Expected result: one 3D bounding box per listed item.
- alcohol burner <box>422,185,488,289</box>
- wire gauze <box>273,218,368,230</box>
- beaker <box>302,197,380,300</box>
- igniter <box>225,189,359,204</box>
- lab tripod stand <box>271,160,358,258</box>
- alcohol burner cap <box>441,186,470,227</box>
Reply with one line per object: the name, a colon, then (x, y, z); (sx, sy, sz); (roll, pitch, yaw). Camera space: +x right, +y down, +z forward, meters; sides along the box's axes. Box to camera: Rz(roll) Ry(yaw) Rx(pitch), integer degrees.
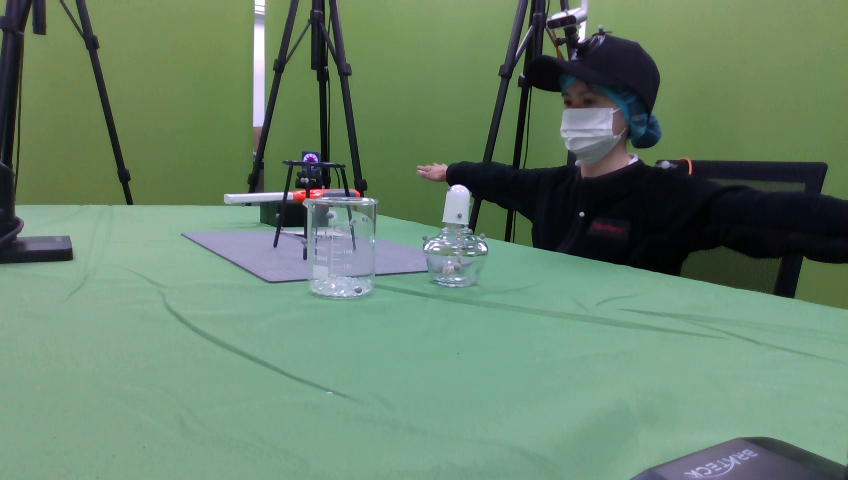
alcohol burner: (0.036, -0.004, 0.705); (0.078, 0.119, 0.078); (0, 7, 0)
wire gauze: (-0.186, -0.028, 1.088); (0.124, 0.011, 0.122); (0, 7, 36)
beaker: (-0.089, 0.007, 0.625); (0.084, 0.100, 0.074); (4, 7, 16)
igniter: (-0.264, -0.089, 1.239); (0.278, 0.025, 0.057); (-5, 12, -32)
lab tripod stand: (-0.160, -0.048, 0.876); (0.148, 0.131, 0.148); (3, 5, 0)
alcohol burner cap: (0.038, -0.039, 0.700); (0.034, 0.048, 0.034); (6, 4, 0)
